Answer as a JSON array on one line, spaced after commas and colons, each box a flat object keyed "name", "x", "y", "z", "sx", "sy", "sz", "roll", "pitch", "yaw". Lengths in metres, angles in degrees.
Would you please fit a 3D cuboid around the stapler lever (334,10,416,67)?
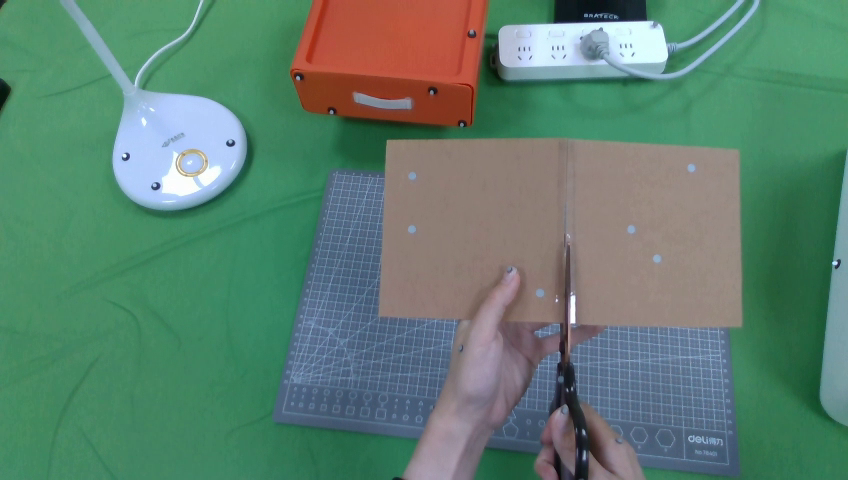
[{"name": "stapler lever", "x": -0.059, "y": -0.235, "z": 0.697, "sx": 0.117, "sy": 0.040, "sz": 0.027, "roll": 35, "pitch": 87, "yaw": 21}]

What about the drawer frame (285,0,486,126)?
[{"name": "drawer frame", "x": -0.034, "y": -0.249, "z": 0.710, "sx": 0.201, "sy": 0.083, "sz": 0.212, "roll": 6, "pitch": 64, "yaw": 6}]

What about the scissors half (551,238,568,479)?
[{"name": "scissors half", "x": 0.099, "y": 0.085, "z": 0.436, "sx": 0.013, "sy": 0.040, "sz": 0.175, "roll": 1, "pitch": 98, "yaw": 6}]

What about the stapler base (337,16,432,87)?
[{"name": "stapler base", "x": -0.050, "y": -0.229, "z": 0.721, "sx": 0.129, "sy": 0.024, "sz": 0.041, "roll": 35, "pitch": 87, "yaw": 20}]

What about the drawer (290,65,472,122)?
[{"name": "drawer", "x": -0.033, "y": -0.247, "z": 0.709, "sx": 0.194, "sy": 0.074, "sz": 0.210, "roll": 6, "pitch": 64, "yaw": 6}]

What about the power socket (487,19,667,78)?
[{"name": "power socket", "x": 0.195, "y": -0.245, "z": 0.773, "sx": 0.227, "sy": 0.033, "sz": 0.071, "roll": 0, "pitch": 65, "yaw": 2}]

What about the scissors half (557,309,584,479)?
[{"name": "scissors half", "x": 0.097, "y": 0.082, "z": 0.412, "sx": 0.013, "sy": 0.040, "sz": 0.174, "roll": 2, "pitch": 64, "yaw": 1}]

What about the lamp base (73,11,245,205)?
[{"name": "lamp base", "x": -0.312, "y": -0.153, "z": 0.671, "sx": 0.178, "sy": 0.182, "sz": 0.160, "roll": 36, "pitch": 71, "yaw": 21}]

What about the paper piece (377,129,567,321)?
[{"name": "paper piece", "x": 0.034, "y": -0.012, "z": 0.441, "sx": 0.136, "sy": 0.009, "sz": 0.138, "roll": 2, "pitch": 88, "yaw": 11}]

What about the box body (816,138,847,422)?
[{"name": "box body", "x": 0.538, "y": 0.022, "z": 0.559, "sx": 0.253, "sy": 0.161, "sz": 0.362, "roll": 18, "pitch": 67, "yaw": 11}]

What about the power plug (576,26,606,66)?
[{"name": "power plug", "x": 0.202, "y": -0.229, "z": 0.740, "sx": 0.035, "sy": 0.053, "sz": 0.072, "roll": 10, "pitch": 65, "yaw": 7}]

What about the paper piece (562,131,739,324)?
[{"name": "paper piece", "x": 0.166, "y": -0.008, "z": 0.439, "sx": 0.136, "sy": 0.004, "sz": 0.135, "roll": 3, "pitch": 86, "yaw": -7}]
